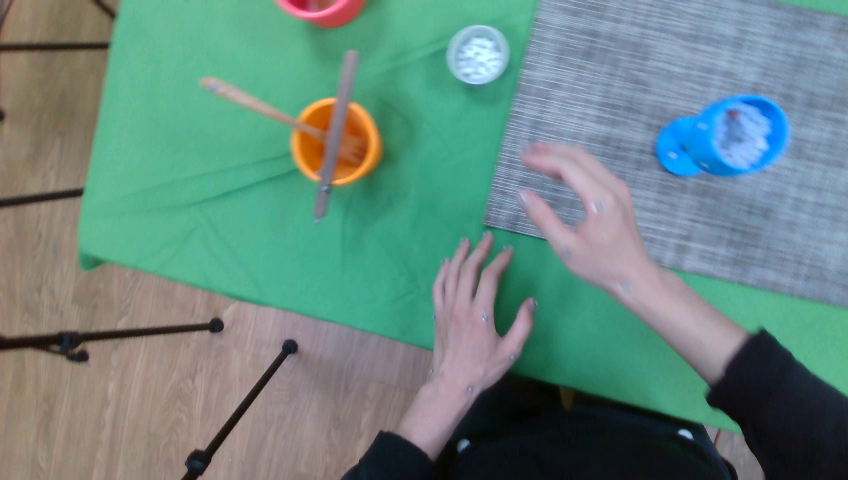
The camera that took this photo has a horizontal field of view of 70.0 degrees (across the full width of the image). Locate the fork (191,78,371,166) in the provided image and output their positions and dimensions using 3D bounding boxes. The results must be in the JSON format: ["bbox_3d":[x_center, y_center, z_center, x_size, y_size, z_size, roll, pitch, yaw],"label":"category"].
[{"bbox_3d":[-0.143,-0.123,0.641,0.209,0.018,0.028,19,107,-40],"label":"fork"}]

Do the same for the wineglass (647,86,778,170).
[{"bbox_3d":[0.268,-0.102,0.582,0.073,0.172,0.074,1,96,7],"label":"wineglass"}]

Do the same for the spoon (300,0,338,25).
[{"bbox_3d":[-0.122,-0.314,0.619,0.041,0.021,0.195,-1,140,5],"label":"spoon"}]

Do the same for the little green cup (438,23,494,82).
[{"bbox_3d":[0.047,-0.203,0.667,0.061,0.038,0.061,1,97,7],"label":"little green cup"}]

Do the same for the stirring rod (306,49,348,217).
[{"bbox_3d":[-0.102,-0.111,0.635,0.014,0.006,0.176,12,97,5],"label":"stirring rod"}]
